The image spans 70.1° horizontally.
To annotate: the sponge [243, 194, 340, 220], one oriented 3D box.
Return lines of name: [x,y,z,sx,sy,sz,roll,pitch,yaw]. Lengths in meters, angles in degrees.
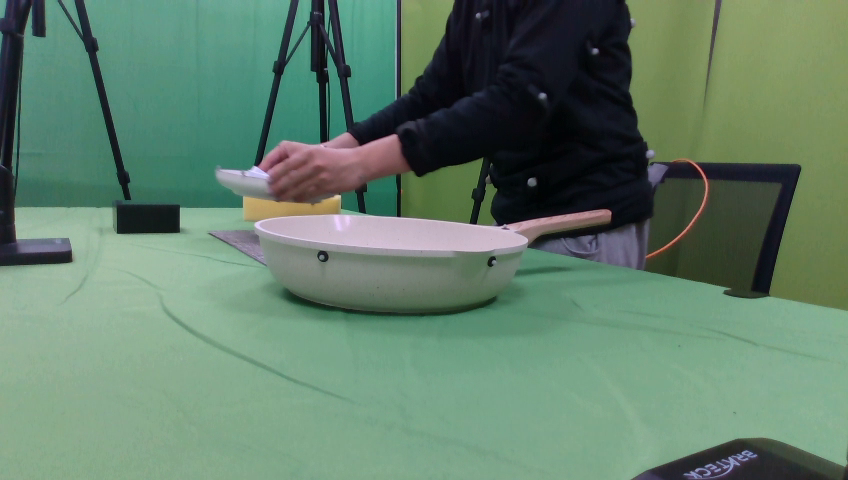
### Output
sponge: [-0.298,-0.077,1.388,0.207,0.061,0.118,2,8,-8]

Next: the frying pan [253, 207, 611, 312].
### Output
frying pan: [0.052,-0.001,0.715,0.490,0.102,0.305,-11,15,-31]

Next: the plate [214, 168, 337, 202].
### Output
plate: [-0.256,-0.094,1.051,0.208,0.039,0.207,7,8,-1]
